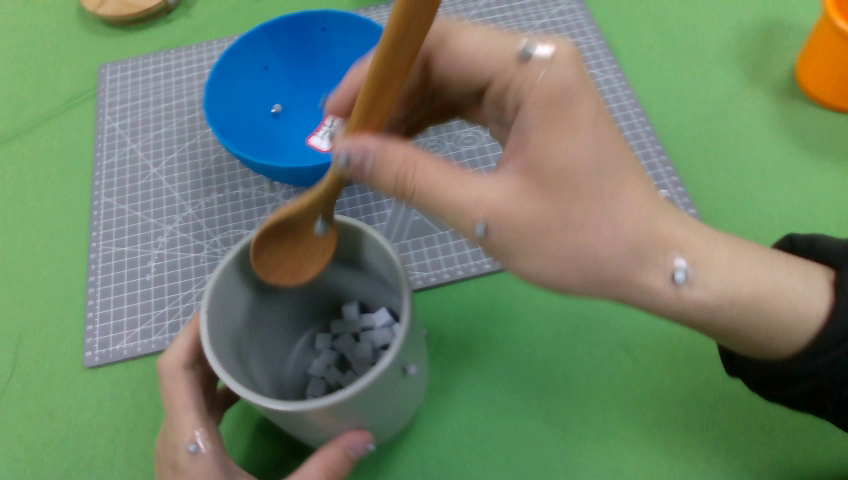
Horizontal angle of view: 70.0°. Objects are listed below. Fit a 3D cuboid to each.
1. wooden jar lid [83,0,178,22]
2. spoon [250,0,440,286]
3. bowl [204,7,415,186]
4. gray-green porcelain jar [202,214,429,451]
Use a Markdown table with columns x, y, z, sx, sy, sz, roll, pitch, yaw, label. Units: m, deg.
| x | y | z | sx | sy | sz | roll | pitch | yaw | label |
| --- | --- | --- | --- | --- | --- | --- | --- | --- | --- |
| -0.285 | -0.257 | 0.601 | 0.108 | 0.021 | 0.107 | -1 | 61 | 2 | wooden jar lid |
| -0.034 | -0.027 | 0.241 | 0.042 | 0.194 | 0.021 | 5 | 62 | -25 | spoon |
| -0.078 | -0.094 | 0.460 | 0.151 | 0.077 | 0.150 | -2 | 61 | 4 | bowl |
| -0.052 | 0.061 | 0.350 | 0.106 | 0.127 | 0.105 | -2 | 61 | 4 | gray-green porcelain jar |
